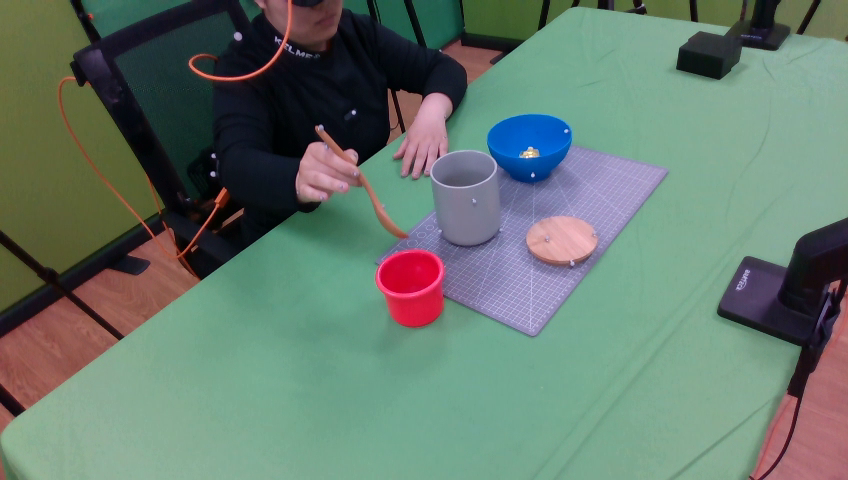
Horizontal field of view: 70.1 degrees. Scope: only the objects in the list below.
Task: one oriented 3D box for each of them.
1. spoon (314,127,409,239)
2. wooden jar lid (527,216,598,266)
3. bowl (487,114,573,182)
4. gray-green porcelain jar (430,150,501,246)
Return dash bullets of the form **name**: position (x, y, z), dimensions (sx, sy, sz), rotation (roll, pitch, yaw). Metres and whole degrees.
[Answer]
- **spoon**: position (-0.080, -0.072, 0.794), dimensions (0.021, 0.195, 0.041), rotation (-40, 23, -12)
- **wooden jar lid**: position (0.214, 0.003, 0.937), dimensions (0.108, 0.021, 0.108), rotation (-4, 40, 4)
- **bowl**: position (0.190, -0.156, 1.085), dimensions (0.151, 0.077, 0.150), rotation (-5, 40, 5)
- **gray-green porcelain jar**: position (0.068, -0.062, 0.959), dimensions (0.106, 0.127, 0.105), rotation (-5, 40, 5)
